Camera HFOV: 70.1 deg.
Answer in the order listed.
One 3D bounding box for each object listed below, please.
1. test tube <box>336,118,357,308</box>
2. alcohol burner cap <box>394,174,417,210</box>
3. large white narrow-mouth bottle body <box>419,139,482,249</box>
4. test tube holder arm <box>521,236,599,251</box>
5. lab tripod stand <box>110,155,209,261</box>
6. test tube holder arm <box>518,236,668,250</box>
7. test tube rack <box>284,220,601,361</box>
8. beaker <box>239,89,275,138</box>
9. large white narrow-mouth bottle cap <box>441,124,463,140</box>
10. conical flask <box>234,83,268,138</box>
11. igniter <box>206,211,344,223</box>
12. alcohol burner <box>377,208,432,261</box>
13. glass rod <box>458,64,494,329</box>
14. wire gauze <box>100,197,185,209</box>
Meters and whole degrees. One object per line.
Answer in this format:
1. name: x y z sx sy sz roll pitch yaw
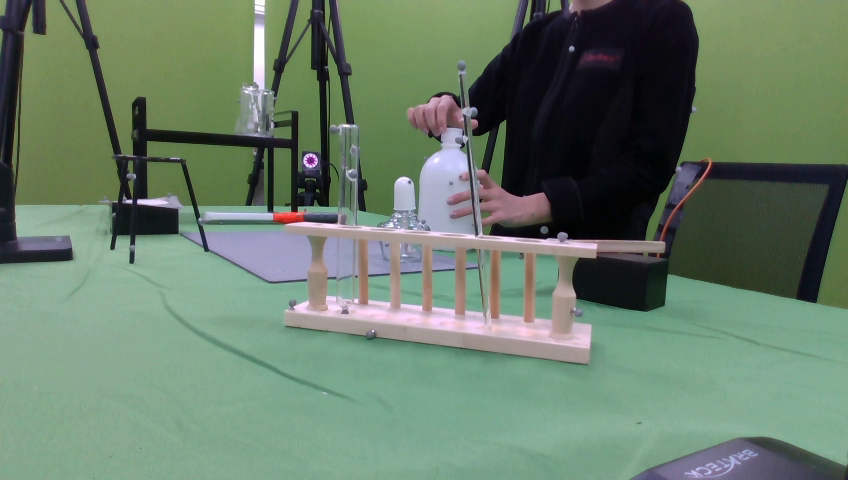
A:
1. test tube: -0.061 -0.019 0.476 0.017 0.150 0.017 2 11 0
2. alcohol burner cap: -0.026 -0.067 0.834 0.034 0.048 0.034 -1 12 0
3. large white narrow-mouth bottle body: 0.044 -0.086 0.995 0.102 0.194 0.102 2 8 0
4. test tube holder arm: 0.144 0.004 0.635 0.088 0.015 0.010 0 12 -19
5. lab tripod stand: -0.361 -0.046 0.806 0.148 0.131 0.148 2 5 0
6. test tube holder arm: 0.186 0.003 0.654 0.179 0.015 0.013 0 12 -17
7. test tube rack: 0.013 0.032 0.482 0.242 0.085 0.067 4 7 16
8. beaker: -0.361 -0.273 1.308 0.074 0.100 0.084 0 8 -11
9. large white narrow-mouth bottle cap: 0.045 -0.175 0.983 0.038 0.024 0.037 2 8 0
10. conical flask: -0.399 -0.298 1.396 0.075 0.122 0.075 2 8 0
11. igniter: -0.302 -0.048 1.249 0.278 0.025 0.057 -2 -2 -27
12. alcohol burner: -0.027 -0.031 0.838 0.078 0.119 0.078 0 6 0
13. glass rod: 0.039 -0.029 0.450 0.008 0.199 0.008 -7 9 1
14. wire gauze: -0.469 -0.062 1.008 0.126 0.011 0.121 -2 8 -25
